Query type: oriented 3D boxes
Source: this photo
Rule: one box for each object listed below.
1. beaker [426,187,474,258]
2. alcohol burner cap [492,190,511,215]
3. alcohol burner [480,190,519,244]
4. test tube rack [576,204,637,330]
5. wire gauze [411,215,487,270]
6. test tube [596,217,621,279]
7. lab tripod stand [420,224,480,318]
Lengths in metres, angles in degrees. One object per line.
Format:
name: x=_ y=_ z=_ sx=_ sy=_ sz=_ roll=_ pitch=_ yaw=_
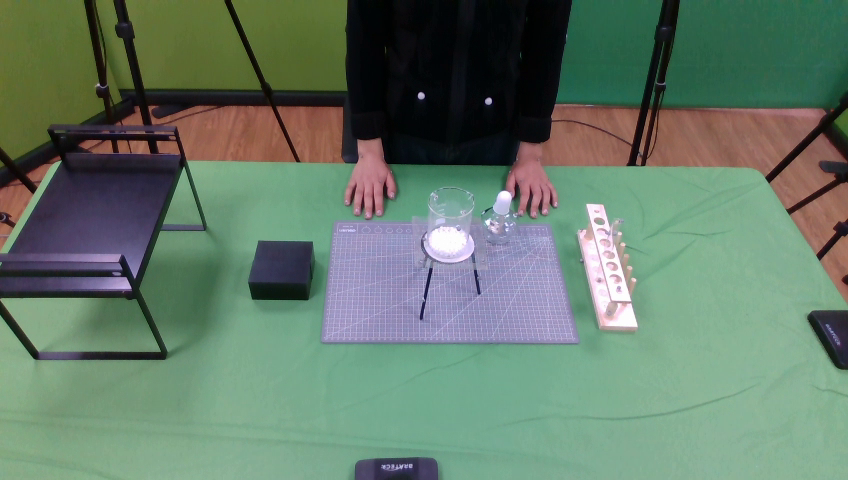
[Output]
beaker: x=0.043 y=-0.027 z=0.989 sx=0.084 sy=0.101 sz=0.073 roll=-27 pitch=53 yaw=-26
alcohol burner cap: x=0.151 y=-0.076 z=1.165 sx=0.034 sy=0.048 sz=0.033 roll=5 pitch=49 yaw=-6
alcohol burner: x=0.150 y=-0.050 z=1.191 sx=0.078 sy=0.120 sz=0.077 roll=1 pitch=46 yaw=-1
test tube rack: x=0.348 y=0.045 z=1.139 sx=0.067 sy=0.085 sz=0.241 roll=2 pitch=46 yaw=-2
wire gauze: x=0.041 y=0.003 z=1.026 sx=0.125 sy=0.011 sz=0.120 roll=0 pitch=46 yaw=-1
test tube: x=0.331 y=0.018 z=1.094 sx=0.017 sy=0.151 sz=0.017 roll=0 pitch=45 yaw=0
lab tripod stand: x=0.034 y=0.051 z=1.071 sx=0.148 sy=0.132 sz=0.147 roll=3 pitch=48 yaw=-3
